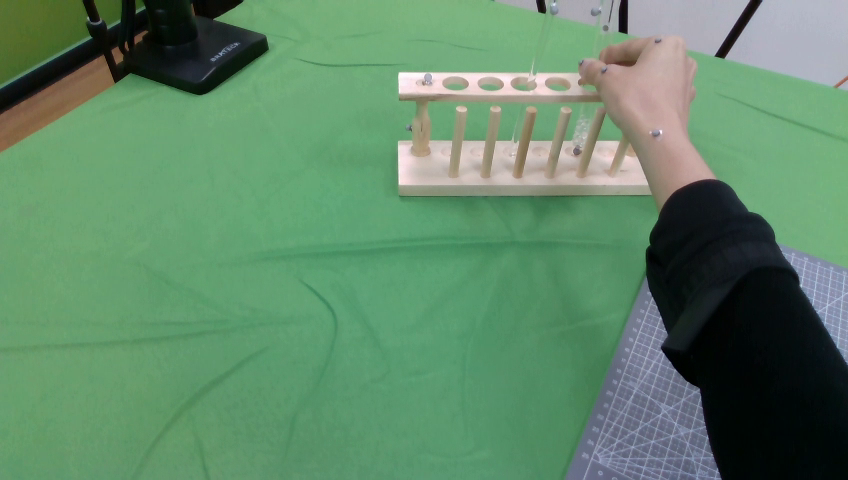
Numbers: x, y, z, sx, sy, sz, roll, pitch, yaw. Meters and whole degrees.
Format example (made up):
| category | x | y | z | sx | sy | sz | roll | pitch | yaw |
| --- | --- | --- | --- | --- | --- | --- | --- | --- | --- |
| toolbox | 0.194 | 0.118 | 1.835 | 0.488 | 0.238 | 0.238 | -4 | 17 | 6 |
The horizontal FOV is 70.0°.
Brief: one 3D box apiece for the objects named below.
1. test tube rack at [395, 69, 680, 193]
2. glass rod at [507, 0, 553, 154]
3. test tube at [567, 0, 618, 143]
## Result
| category | x | y | z | sx | sy | sz | roll | pitch | yaw |
| --- | --- | --- | --- | --- | --- | --- | --- | --- | --- |
| test tube rack | 0.096 | -0.095 | 0.536 | 0.242 | 0.086 | 0.066 | -1 | 46 | -4 |
| glass rod | 0.088 | -0.145 | 0.491 | 0.008 | 0.201 | 0.008 | 3 | 50 | -4 |
| test tube | 0.142 | -0.145 | 0.515 | 0.017 | 0.151 | 0.017 | 1 | 46 | 0 |
